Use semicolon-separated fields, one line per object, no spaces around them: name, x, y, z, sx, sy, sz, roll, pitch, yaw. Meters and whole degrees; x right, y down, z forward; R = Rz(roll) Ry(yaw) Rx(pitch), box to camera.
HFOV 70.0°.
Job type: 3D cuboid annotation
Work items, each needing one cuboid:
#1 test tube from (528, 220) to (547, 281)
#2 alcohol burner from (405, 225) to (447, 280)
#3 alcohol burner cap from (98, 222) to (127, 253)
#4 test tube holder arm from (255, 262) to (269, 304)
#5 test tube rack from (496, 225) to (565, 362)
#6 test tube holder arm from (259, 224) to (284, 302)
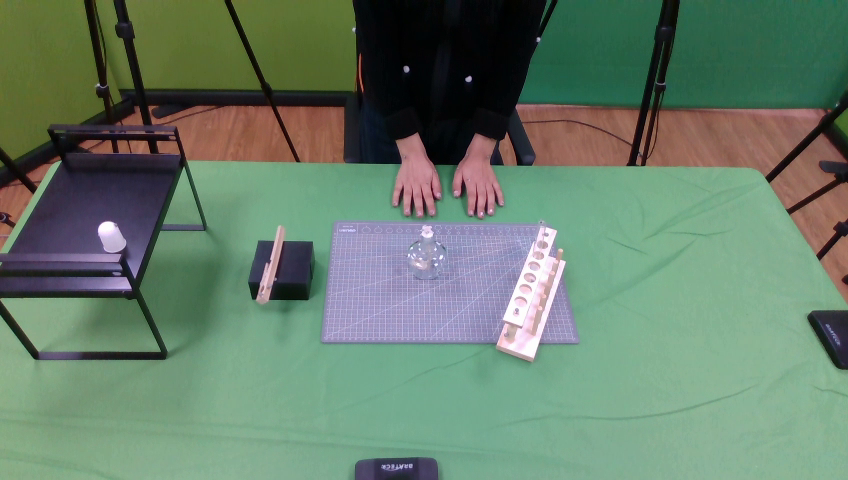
test tube;0.200;0.022;1.076;0.017;0.151;0.017;0;47;1
alcohol burner;0.004;0.017;1.115;0.078;0.120;0.077;1;47;-1
alcohol burner cap;-0.468;-0.007;0.904;0.034;0.048;0.033;3;45;-3
test tube holder arm;-0.274;0.072;1.042;0.010;0.015;0.087;-20;42;22
test tube rack;0.200;0.089;1.081;0.066;0.085;0.241;19;48;13
test tube holder arm;-0.268;0.038;1.071;0.013;0.015;0.177;-21;41;21
